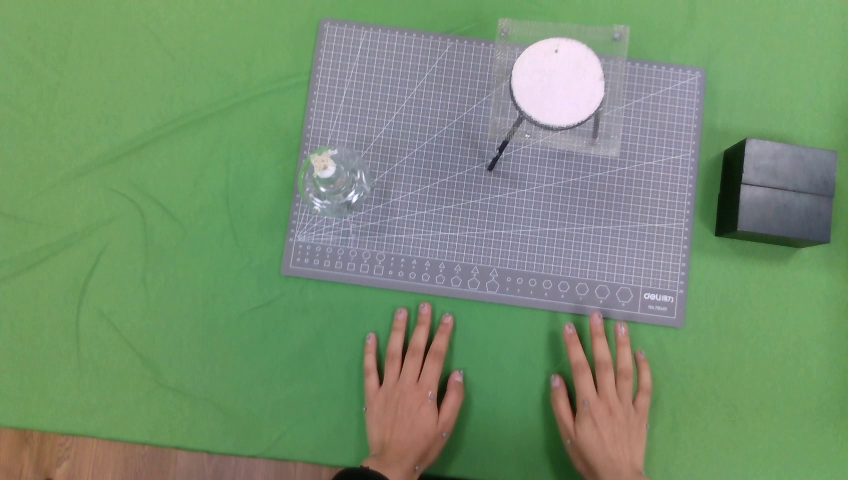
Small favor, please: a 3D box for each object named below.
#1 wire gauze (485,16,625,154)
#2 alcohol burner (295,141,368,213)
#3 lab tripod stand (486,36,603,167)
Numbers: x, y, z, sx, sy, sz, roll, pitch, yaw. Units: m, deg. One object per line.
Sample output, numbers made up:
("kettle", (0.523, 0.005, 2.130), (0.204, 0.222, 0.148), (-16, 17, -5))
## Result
("wire gauze", (0.122, -0.146, 0.559), (0.125, 0.011, 0.121), (7, 83, 1))
("alcohol burner", (-0.098, -0.069, 0.626), (0.078, 0.119, 0.077), (0, 85, -1))
("lab tripod stand", (0.120, -0.144, 0.627), (0.148, 0.132, 0.148), (0, 83, 1))
